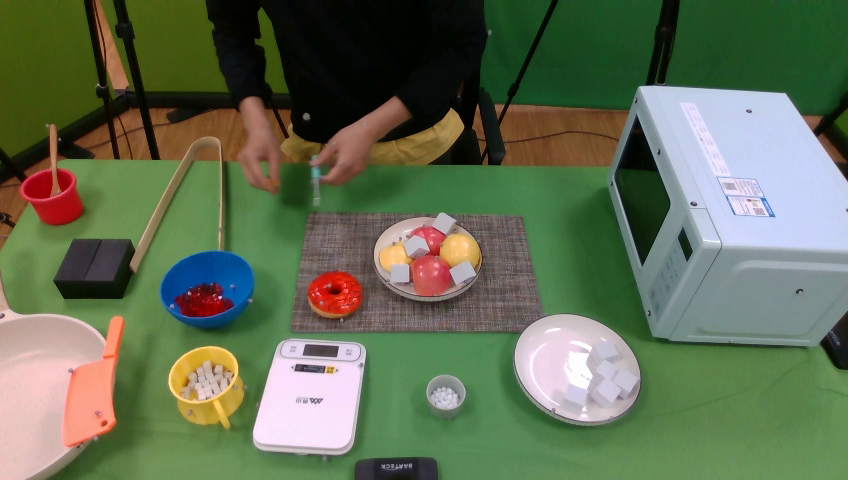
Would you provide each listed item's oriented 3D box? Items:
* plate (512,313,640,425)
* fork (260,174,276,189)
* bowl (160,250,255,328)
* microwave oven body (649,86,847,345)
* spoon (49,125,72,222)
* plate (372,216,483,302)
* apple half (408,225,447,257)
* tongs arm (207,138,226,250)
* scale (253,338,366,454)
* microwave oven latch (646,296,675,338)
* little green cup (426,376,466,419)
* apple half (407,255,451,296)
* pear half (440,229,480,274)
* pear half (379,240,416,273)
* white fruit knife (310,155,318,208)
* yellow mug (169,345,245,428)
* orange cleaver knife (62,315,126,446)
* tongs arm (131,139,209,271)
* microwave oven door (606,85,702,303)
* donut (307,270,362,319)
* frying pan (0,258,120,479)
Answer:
[{"bbox_3d":[0.246,0.213,0.999,0.208,0.039,0.206,2,46,-2],"label":"plate"},{"bbox_3d":[-0.298,-0.114,1.165,0.028,0.018,0.206,-16,11,-10],"label":"fork"},{"bbox_3d":[-0.362,0.098,1.040,0.151,0.077,0.150,2,45,-2],"label":"bowl"},{"bbox_3d":[0.567,-0.053,1.118,0.326,0.261,0.439,2,45,-1],"label":"microwave oven body"},{"bbox_3d":[-0.718,-0.131,1.189,0.041,0.021,0.193,-4,90,-6],"label":"spoon"},{"bbox_3d":[0.006,0.038,1.145,0.209,0.038,0.208,2,46,-2],"label":"plate"},{"bbox_3d":[0.009,-0.006,1.176,0.081,0.033,0.081,1,52,-1],"label":"apple half"},{"bbox_3d":[-0.431,-0.089,1.245,0.051,0.026,0.382,-8,46,-7],"label":"tongs arm"},{"bbox_3d":[-0.175,0.236,0.951,0.149,0.032,0.199,4,45,-1],"label":"scale"},{"bbox_3d":[0.412,0.134,1.061,0.030,0.029,0.078,4,45,1],"label":"microwave oven latch"},{"bbox_3d":[0.033,0.248,0.950,0.061,0.039,0.061,2,46,-2],"label":"little green cup"},{"bbox_3d":[0.011,0.058,1.103,0.075,0.053,0.080,-6,43,-13],"label":"apple half"},{"bbox_3d":[0.065,0.007,1.150,0.076,0.056,0.109,-10,43,-2],"label":"pear half"},{"bbox_3d":[-0.048,0.024,1.147,0.070,0.031,0.087,12,47,-11],"label":"pear half"},{"bbox_3d":[-0.206,-0.112,1.131,0.016,0.027,0.206,1,31,-11],"label":"white fruit knife"},{"bbox_3d":[-0.322,0.230,0.922,0.100,0.064,0.130,-24,53,-25],"label":"yellow mug"},{"bbox_3d":[-0.480,0.199,0.887,0.077,0.012,0.210,-9,47,-8],"label":"orange cleaver knife"},{"bbox_3d":[-0.514,-0.086,1.237,0.028,0.028,0.385,0,45,5],"label":"tongs arm"},{"bbox_3d":[0.422,-0.094,1.140,0.039,0.245,0.353,2,46,-1],"label":"microwave oven door"},{"bbox_3d":[-0.158,0.097,1.073,0.099,0.048,0.098,4,45,-4],"label":"donut"},{"bbox_3d":[-0.647,0.164,0.936,0.307,0.103,0.485,-19,58,-22],"label":"frying pan"}]
